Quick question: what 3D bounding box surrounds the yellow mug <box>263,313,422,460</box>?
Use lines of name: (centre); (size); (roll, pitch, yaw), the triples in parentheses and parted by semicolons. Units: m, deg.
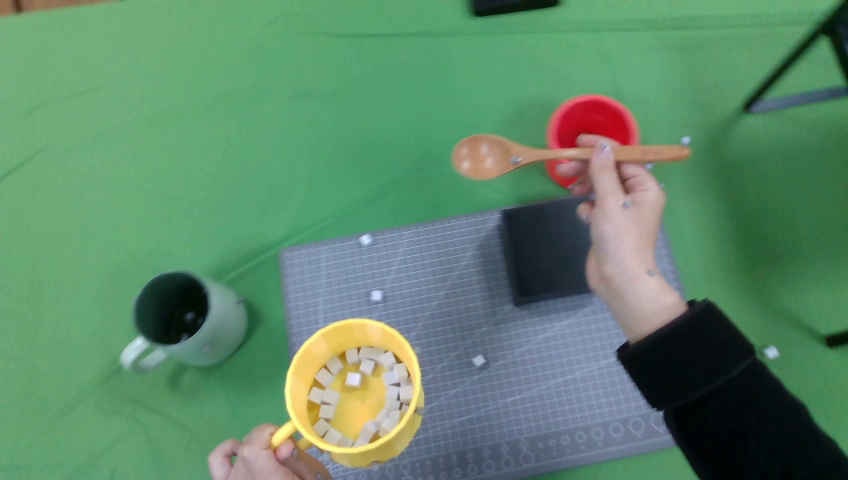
yellow mug: (-0.065, 0.122, 0.465); (0.131, 0.064, 0.099); (-34, 67, -14)

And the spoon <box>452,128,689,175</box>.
spoon: (0.115, -0.074, 0.503); (0.192, 0.022, 0.041); (4, 86, 28)

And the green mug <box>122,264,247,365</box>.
green mug: (-0.257, 0.086, 0.640); (0.125, 0.105, 0.092); (-42, 78, -10)
